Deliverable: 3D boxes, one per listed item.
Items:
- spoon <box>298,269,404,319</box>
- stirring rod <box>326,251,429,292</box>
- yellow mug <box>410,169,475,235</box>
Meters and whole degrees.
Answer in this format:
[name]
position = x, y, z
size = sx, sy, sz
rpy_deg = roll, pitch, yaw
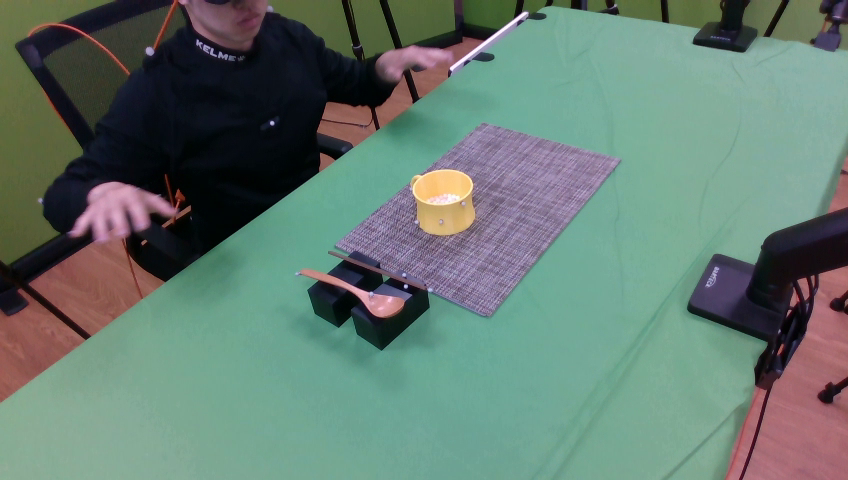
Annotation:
[spoon]
position = -0.106, 0.068, 0.831
size = 0.192, 0.022, 0.042
rpy_deg = 21, 50, 31
[stirring rod]
position = -0.068, 0.043, 0.858
size = 0.175, 0.006, 0.014
rpy_deg = 18, 9, 27
[yellow mug]
position = 0.022, -0.070, 1.007
size = 0.100, 0.064, 0.129
rpy_deg = -36, 47, -30
